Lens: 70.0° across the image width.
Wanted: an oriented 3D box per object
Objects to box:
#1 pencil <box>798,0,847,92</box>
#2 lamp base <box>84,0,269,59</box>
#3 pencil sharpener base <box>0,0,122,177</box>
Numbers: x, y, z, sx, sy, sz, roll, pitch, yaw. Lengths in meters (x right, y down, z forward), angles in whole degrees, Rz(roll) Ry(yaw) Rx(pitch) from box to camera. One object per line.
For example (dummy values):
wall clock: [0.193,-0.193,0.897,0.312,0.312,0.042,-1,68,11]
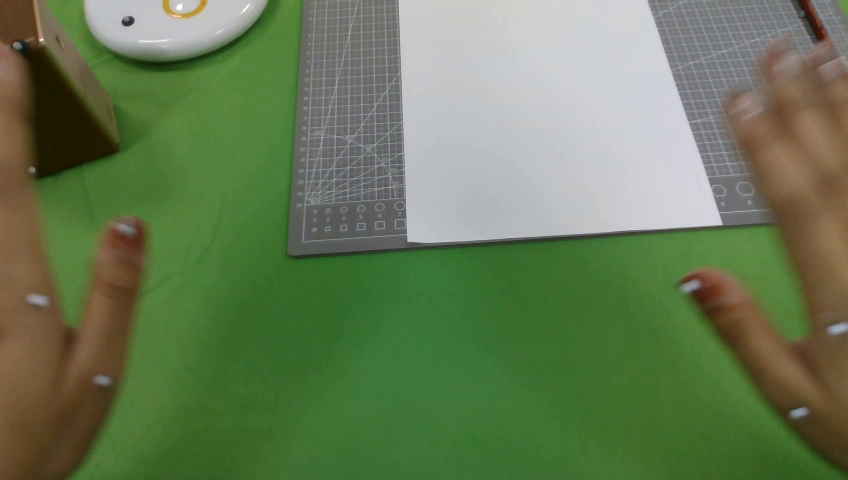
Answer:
pencil: [0.318,-0.178,0.491,0.012,0.012,0.192,-5,61,0]
lamp base: [-0.223,-0.265,0.467,0.160,0.182,0.177,-32,61,-15]
pencil sharpener base: [-0.273,-0.104,0.420,0.077,0.108,0.061,-22,62,-9]
